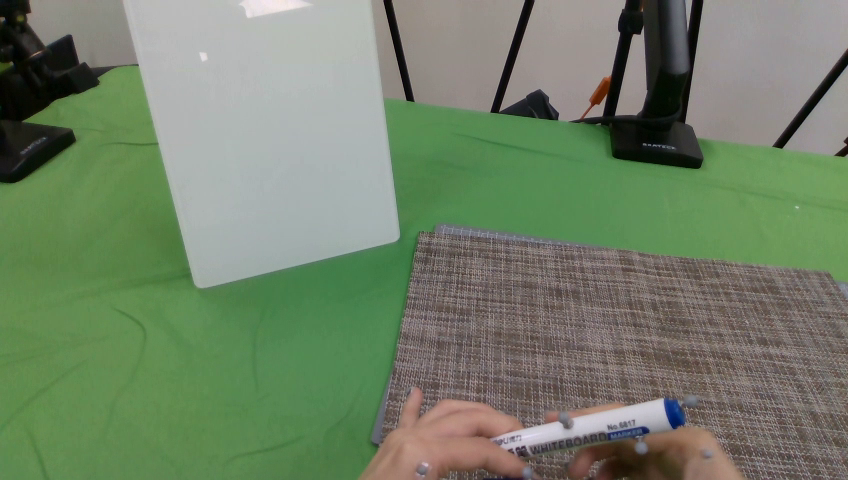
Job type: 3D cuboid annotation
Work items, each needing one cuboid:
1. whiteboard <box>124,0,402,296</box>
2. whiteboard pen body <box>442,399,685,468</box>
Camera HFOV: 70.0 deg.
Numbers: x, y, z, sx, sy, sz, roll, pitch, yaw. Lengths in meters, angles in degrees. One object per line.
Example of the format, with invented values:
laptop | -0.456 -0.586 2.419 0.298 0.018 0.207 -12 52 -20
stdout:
whiteboard | -0.164 -0.131 0.633 0.218 0.307 0.142 -14 21 -21
whiteboard pen body | 0.068 0.107 0.325 0.140 0.017 0.017 -23 27 28
